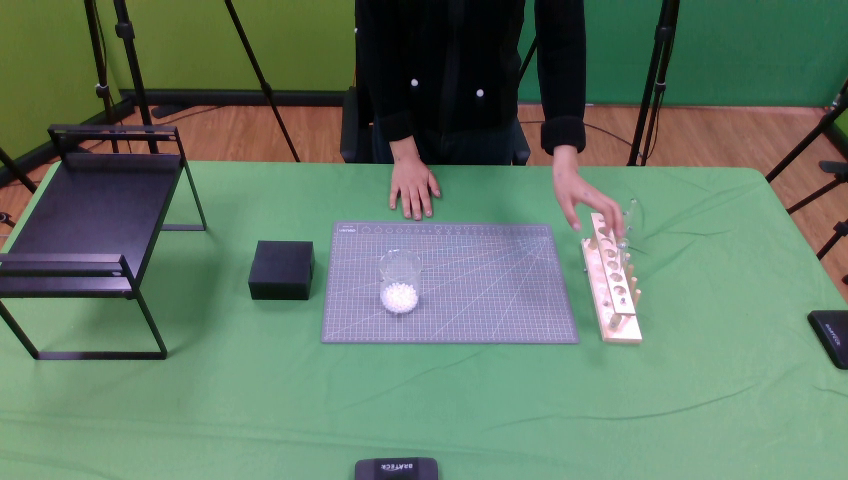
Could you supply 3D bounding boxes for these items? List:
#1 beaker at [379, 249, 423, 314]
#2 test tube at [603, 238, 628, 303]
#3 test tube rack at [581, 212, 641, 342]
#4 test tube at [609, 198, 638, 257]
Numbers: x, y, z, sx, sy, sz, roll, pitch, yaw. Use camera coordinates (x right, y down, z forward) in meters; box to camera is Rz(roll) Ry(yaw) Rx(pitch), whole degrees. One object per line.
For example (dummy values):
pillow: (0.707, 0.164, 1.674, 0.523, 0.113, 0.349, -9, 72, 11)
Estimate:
beaker: (-0.044, 0.074, 1.066, 0.074, 0.101, 0.083, -22, 51, -23)
test tube: (0.334, 0.056, 1.058, 0.017, 0.151, 0.017, 0, 41, 0)
test tube rack: (0.351, 0.063, 1.121, 0.067, 0.085, 0.241, 2, 46, -1)
test tube: (0.375, -0.021, 1.141, 0.017, 0.151, 0.017, 2, 45, -2)
